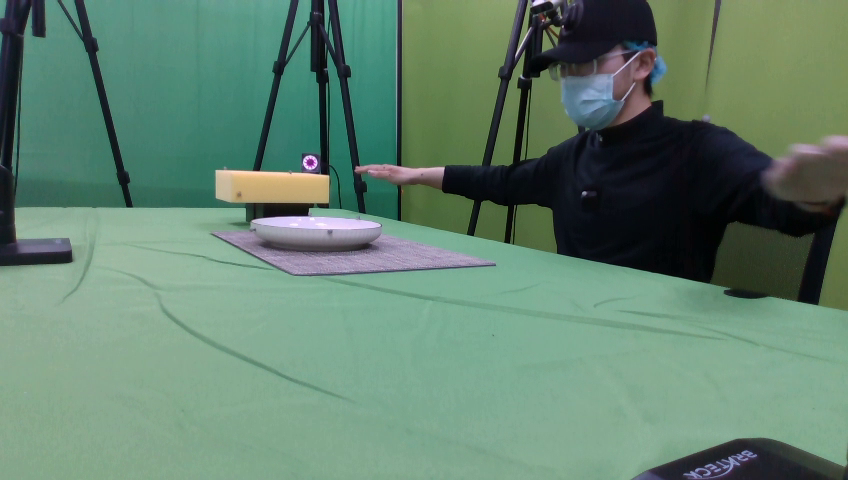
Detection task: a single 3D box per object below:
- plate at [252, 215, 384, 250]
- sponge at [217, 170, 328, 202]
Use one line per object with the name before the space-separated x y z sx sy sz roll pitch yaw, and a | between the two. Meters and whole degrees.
plate | -0.169 -0.012 0.976 0.208 0.039 0.207 2 7 0
sponge | -0.319 -0.113 1.274 0.208 0.061 0.117 -3 9 -34
